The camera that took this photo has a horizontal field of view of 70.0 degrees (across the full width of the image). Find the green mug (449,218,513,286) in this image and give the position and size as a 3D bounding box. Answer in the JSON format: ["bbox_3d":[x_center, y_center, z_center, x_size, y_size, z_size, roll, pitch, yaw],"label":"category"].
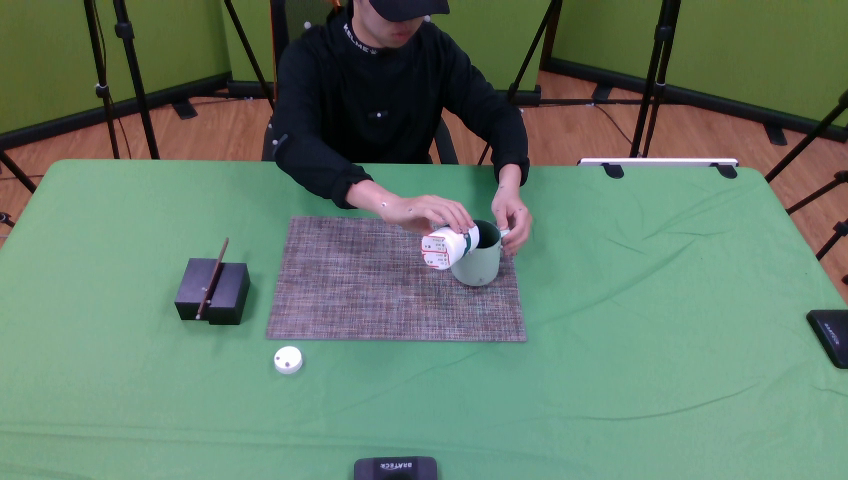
[{"bbox_3d":[0.110,0.018,1.126,0.125,0.105,0.092,-19,50,-21],"label":"green mug"}]

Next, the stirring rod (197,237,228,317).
[{"bbox_3d":[-0.363,0.060,1.047,0.006,0.014,0.175,7,46,-3],"label":"stirring rod"}]

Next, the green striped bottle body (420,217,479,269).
[{"bbox_3d":[0.049,0.001,1.014,0.063,0.063,0.119,27,30,20],"label":"green striped bottle body"}]

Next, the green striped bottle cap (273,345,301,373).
[{"bbox_3d":[-0.225,0.195,0.997,0.044,0.020,0.044,2,50,-2],"label":"green striped bottle cap"}]
